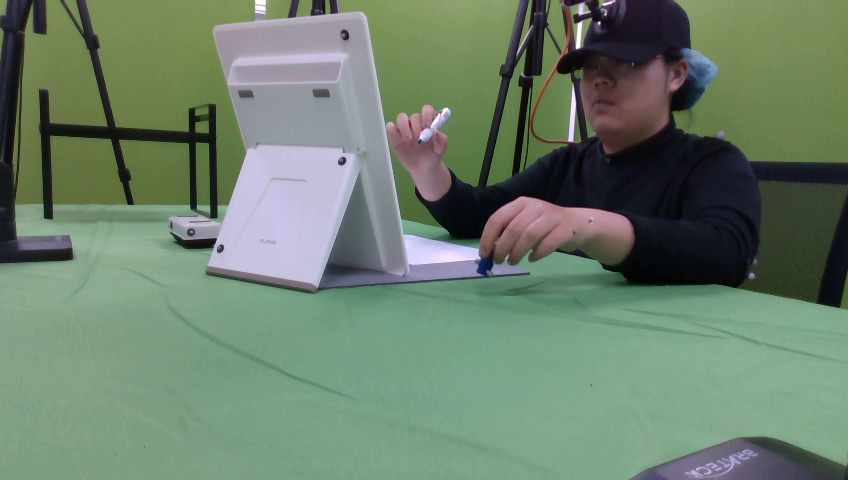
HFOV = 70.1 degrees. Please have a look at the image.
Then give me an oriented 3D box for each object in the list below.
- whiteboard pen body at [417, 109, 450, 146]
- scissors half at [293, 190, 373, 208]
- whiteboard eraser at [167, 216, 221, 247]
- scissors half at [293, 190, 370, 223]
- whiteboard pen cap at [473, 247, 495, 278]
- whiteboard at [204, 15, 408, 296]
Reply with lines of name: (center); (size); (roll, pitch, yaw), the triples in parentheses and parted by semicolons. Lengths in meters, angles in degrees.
whiteboard pen body: (0.014, -0.169, 0.912); (0.017, 0.017, 0.141); (5, 31, 18)
scissors half: (-0.201, -0.096, 1.333); (0.175, 0.040, 0.013); (5, 18, -4)
whiteboard eraser: (-0.350, -0.013, 0.920); (0.056, 0.042, 0.112); (0, 7, -35)
scissors half: (-0.205, -0.077, 1.338); (0.175, 0.040, 0.013); (22, 11, -8)
whiteboard pen cap: (0.066, 0.025, 0.675); (0.018, 0.033, 0.018); (22, 3, -1)
whiteboard: (-0.166, -0.072, 0.669); (0.216, 0.305, 0.144); (8, 30, 30)
